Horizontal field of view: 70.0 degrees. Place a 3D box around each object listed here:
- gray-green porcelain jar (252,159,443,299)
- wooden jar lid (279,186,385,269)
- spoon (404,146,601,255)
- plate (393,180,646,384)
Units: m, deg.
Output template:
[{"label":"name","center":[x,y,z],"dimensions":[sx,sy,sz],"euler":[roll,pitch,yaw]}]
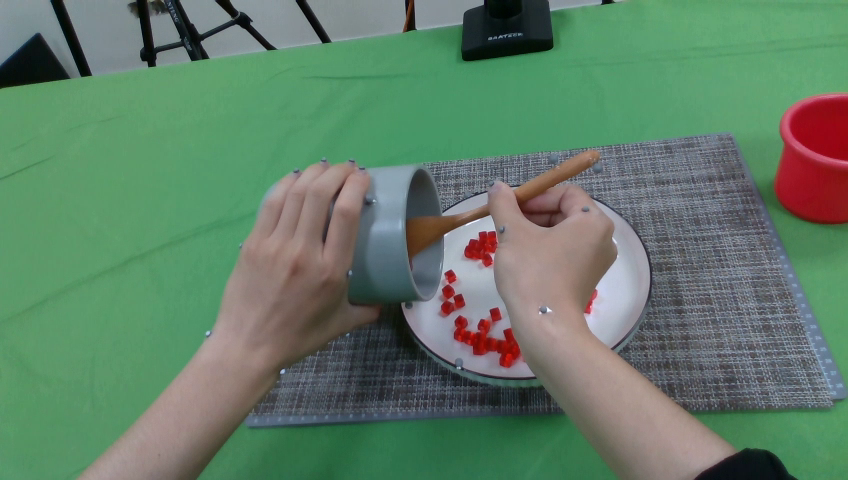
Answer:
[{"label":"gray-green porcelain jar","center":[-0.059,-0.007,0.472],"dimensions":[0.126,0.107,0.105],"euler":[-2,48,16]},{"label":"wooden jar lid","center":[-0.091,-0.011,0.609],"dimensions":[0.108,0.021,0.107],"euler":[-6,46,7]},{"label":"spoon","center":[0.041,-0.026,0.448],"dimensions":[0.193,0.022,0.041],"euler":[-22,49,29]},{"label":"plate","center":[0.078,0.033,0.513],"dimensions":[0.207,0.039,0.205],"euler":[-7,47,8]}]
